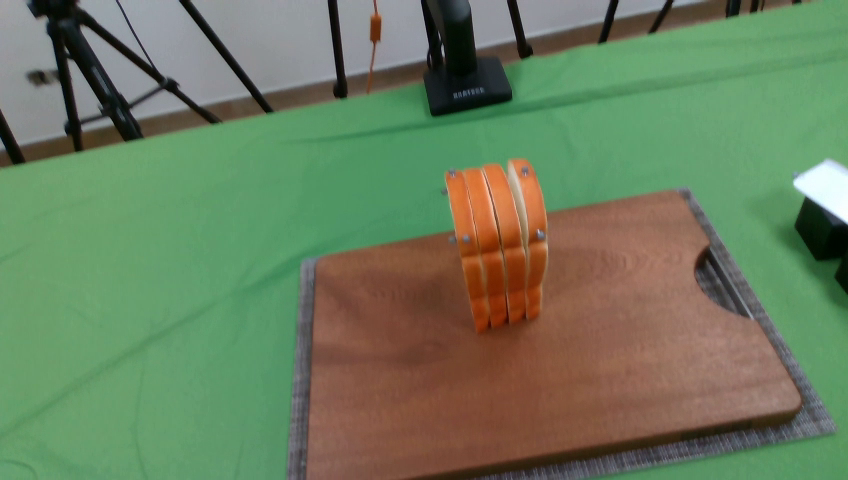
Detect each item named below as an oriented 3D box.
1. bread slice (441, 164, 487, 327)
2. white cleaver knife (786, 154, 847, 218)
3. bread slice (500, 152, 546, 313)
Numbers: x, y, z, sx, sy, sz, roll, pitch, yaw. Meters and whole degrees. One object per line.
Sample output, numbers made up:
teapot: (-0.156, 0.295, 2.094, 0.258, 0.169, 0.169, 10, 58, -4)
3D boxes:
bread slice: (0.036, -0.003, 0.555, 0.018, 0.135, 0.106, -12, 43, 2)
white cleaver knife: (0.434, 0.008, 0.513, 0.066, 0.022, 0.283, -22, 48, -8)
bread slice: (0.089, -0.012, 0.553, 0.019, 0.133, 0.103, -8, 47, -3)
